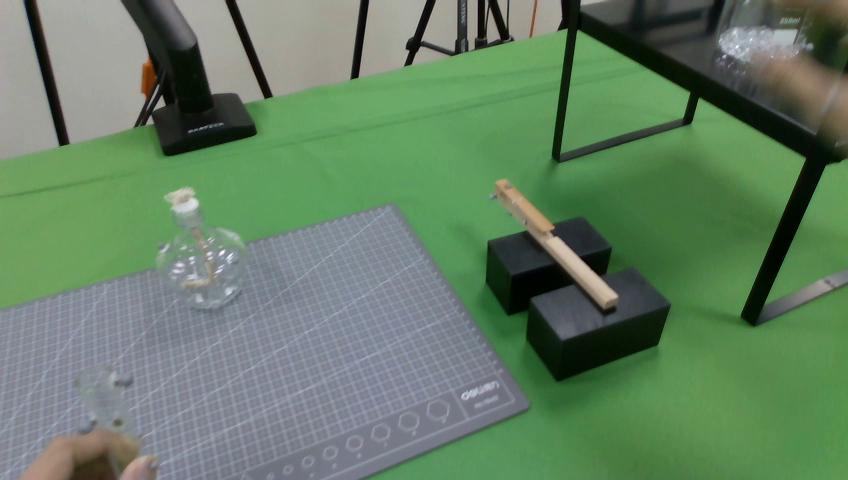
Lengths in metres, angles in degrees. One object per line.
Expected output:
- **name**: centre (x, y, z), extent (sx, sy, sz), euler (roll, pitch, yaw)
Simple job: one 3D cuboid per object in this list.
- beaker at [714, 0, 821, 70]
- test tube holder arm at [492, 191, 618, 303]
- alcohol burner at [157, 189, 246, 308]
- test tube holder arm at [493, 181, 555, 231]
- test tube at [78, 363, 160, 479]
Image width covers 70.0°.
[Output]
- **beaker**: centre (0.288, -0.200, 0.505), extent (0.084, 0.101, 0.073), euler (-11, 40, -10)
- **test tube holder arm**: centre (0.111, -0.001, 0.539), extent (0.015, 0.013, 0.176), euler (-12, 38, -22)
- **alcohol burner**: centre (-0.201, 0.003, 0.541), extent (0.078, 0.120, 0.077), euler (1, 40, 0)
- **test tube holder arm**: centre (0.093, -0.030, 0.568), extent (0.015, 0.010, 0.087), euler (-12, 39, -22)
- **test tube**: centre (-0.144, 0.120, 0.307), extent (0.017, 0.151, 0.017), euler (0, 34, 0)
